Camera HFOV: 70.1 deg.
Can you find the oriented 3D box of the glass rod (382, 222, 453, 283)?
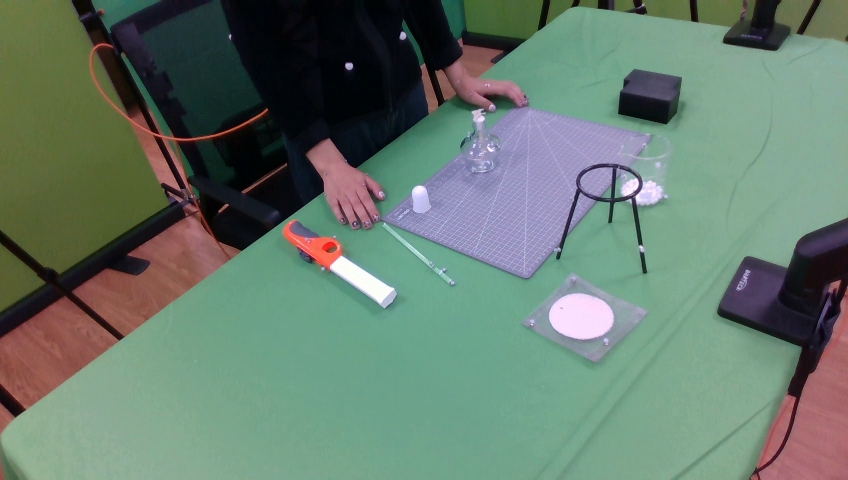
[{"bbox_3d":[-0.014,0.016,0.976,0.008,0.008,0.198,-30,44,-22],"label":"glass rod"}]

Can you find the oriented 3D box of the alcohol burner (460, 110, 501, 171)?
[{"bbox_3d":[0.103,-0.186,1.105,0.078,0.119,0.077,-4,42,4],"label":"alcohol burner"}]

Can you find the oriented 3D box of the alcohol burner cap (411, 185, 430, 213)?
[{"bbox_3d":[-0.008,-0.074,1.050,0.034,0.048,0.033,-4,40,4],"label":"alcohol burner cap"}]

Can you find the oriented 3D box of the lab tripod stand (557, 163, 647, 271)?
[{"bbox_3d":[0.271,-0.034,0.885,0.148,0.132,0.147,-4,40,4],"label":"lab tripod stand"}]

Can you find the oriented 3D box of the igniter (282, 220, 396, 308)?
[{"bbox_3d":[-0.146,0.032,0.966,0.274,0.025,0.057,30,65,37],"label":"igniter"}]

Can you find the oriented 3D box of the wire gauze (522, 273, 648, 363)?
[{"bbox_3d":[0.220,0.105,0.828,0.125,0.011,0.120,-35,47,-30],"label":"wire gauze"}]

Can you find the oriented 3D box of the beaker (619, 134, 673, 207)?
[{"bbox_3d":[0.356,-0.111,0.986,0.084,0.101,0.073,-10,40,1],"label":"beaker"}]
